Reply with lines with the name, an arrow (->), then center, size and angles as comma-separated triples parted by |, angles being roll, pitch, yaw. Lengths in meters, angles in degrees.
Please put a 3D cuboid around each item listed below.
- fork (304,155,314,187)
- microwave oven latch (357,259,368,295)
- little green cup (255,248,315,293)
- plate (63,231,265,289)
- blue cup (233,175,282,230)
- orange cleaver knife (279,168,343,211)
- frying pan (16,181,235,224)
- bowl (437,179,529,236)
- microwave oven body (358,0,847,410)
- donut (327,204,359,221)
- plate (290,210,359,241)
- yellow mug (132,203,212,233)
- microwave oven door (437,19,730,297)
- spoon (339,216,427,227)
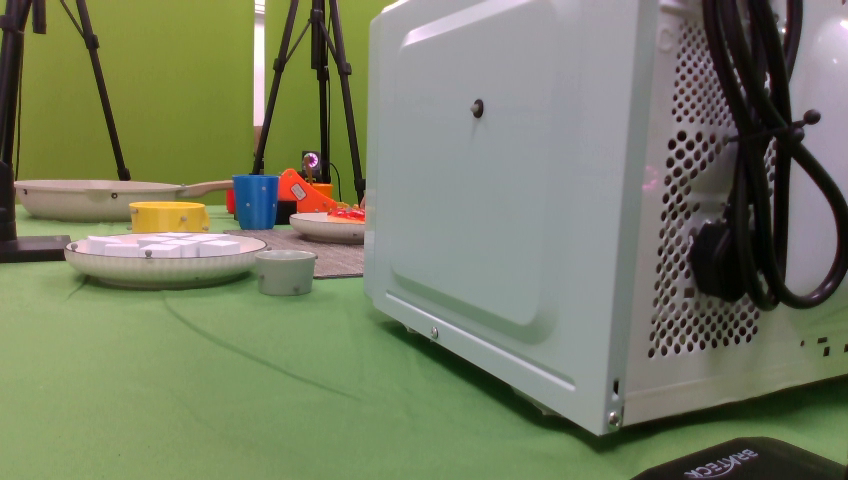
fork -> -0.268, -0.134, 1.446 | 0.028, 0.018, 0.207 | 1, -36, -1
microwave oven latch -> -0.019, 0.031, 0.529 | 0.079, 0.029, 0.030 | -1, 7, -27
little green cup -> -0.144, 0.031, 0.627 | 0.061, 0.038, 0.061 | 2, 6, 0
plate -> -0.288, 0.021, 0.687 | 0.208, 0.039, 0.207 | 2, 8, 0
blue cup -> -0.314, -0.071, 1.141 | 0.093, 0.100, 0.092 | 0, 7, 0
orange cleaver knife -> -0.236, -0.084, 1.333 | 0.212, 0.077, 0.012 | 31, -9, -32
frying pan -> -0.554, -0.097, 1.266 | 0.490, 0.102, 0.305 | -10, 13, -24
bowl -> 0.100, -0.049, 0.986 | 0.151, 0.076, 0.151 | -7, -1, 0
microwave oven body -> 0.210, -0.051, 0.471 | 0.444, 0.260, 0.324 | -1, 7, -28
donut -> -0.120, -0.037, 1.056 | 0.099, 0.048, 0.099 | 5, 7, 0
plate -> -0.127, -0.026, 1.051 | 0.209, 0.038, 0.209 | 2, 7, 0
yellow mug -> -0.356, -0.020, 0.878 | 0.099, 0.064, 0.131 | 4, 7, 22
microwave oven door -> 0.181, -0.076, 0.618 | 0.358, 0.243, 0.039 | -2, 9, -28
spoon -> -0.087, -0.041, 1.267 | 0.193, 0.021, 0.041 | 4, 27, 13
